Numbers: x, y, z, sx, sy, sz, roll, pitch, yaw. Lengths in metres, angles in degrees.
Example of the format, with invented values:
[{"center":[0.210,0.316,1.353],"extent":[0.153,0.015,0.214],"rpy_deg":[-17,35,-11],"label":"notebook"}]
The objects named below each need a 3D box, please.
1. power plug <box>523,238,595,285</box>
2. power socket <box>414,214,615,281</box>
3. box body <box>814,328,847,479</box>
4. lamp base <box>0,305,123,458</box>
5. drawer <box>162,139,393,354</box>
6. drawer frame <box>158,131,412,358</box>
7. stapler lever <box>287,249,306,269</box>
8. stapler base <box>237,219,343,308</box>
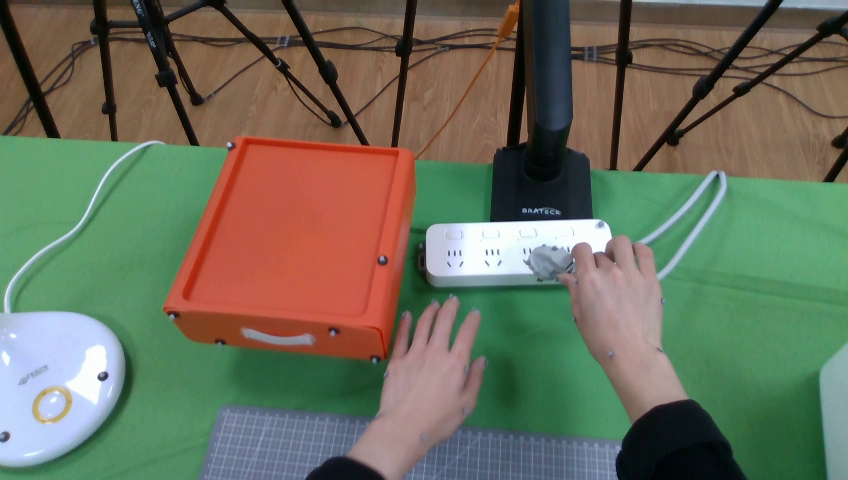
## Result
[{"center":[0.127,0.029,0.601],"extent":[0.035,0.053,0.072],"rpy_deg":[-22,66,-23],"label":"power plug"},{"center":[0.101,0.009,0.681],"extent":[0.227,0.033,0.071],"rpy_deg":[-1,58,1],"label":"power socket"},{"center":[0.461,0.233,0.447],"extent":[0.253,0.162,0.361],"rpy_deg":[11,58,9],"label":"box body"},{"center":[-0.402,0.091,0.556],"extent":[0.178,0.182,0.160],"rpy_deg":[33,63,24],"label":"lamp base"},{"center":[-0.125,0.001,0.612],"extent":[0.194,0.074,0.210],"rpy_deg":[5,57,6],"label":"drawer"},{"center":[-0.126,-0.002,0.613],"extent":[0.201,0.083,0.211],"rpy_deg":[5,57,5],"label":"drawer frame"},{"center":[-0.151,0.011,0.597],"extent":[0.117,0.040,0.027],"rpy_deg":[31,80,25],"label":"stapler lever"},{"center":[-0.142,0.020,0.621],"extent":[0.129,0.024,0.041],"rpy_deg":[32,80,23],"label":"stapler base"}]
